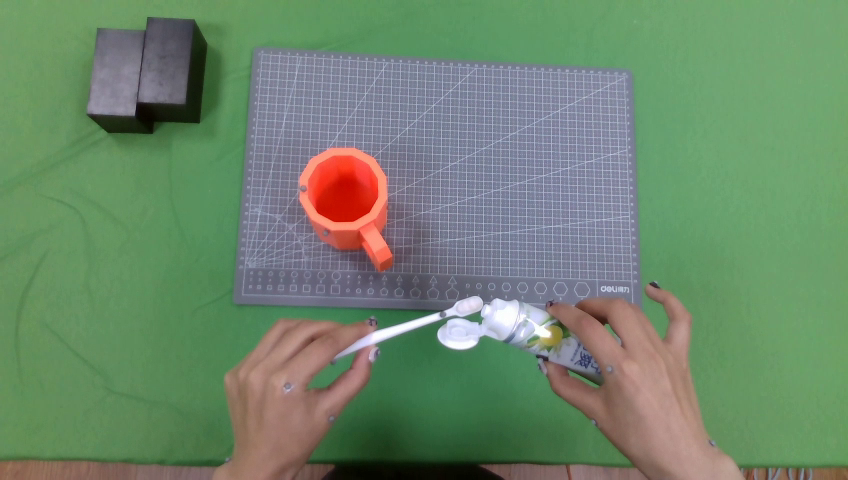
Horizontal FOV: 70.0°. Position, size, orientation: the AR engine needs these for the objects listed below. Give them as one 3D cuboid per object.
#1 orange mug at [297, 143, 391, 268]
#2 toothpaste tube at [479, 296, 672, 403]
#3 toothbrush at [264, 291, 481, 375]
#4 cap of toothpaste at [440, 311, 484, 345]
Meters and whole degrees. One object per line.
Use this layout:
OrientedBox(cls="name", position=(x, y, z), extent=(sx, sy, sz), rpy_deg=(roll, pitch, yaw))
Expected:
OrientedBox(cls="orange mug", position=(-0.074, -0.030, 0.628), extent=(0.083, 0.101, 0.125), rpy_deg=(-32, 78, -9))
OrientedBox(cls="toothpaste tube", position=(0.120, 0.084, 0.489), extent=(0.165, 0.034, 0.055), rpy_deg=(21, 100, -9))
OrientedBox(cls="toothbrush", position=(-0.041, 0.075, 0.482), extent=(0.182, 0.016, 0.014), rpy_deg=(-19, 90, -1))
OrientedBox(cls="cap of toothpaste", position=(0.030, 0.069, 0.486), extent=(0.037, 0.037, 0.011), rpy_deg=(1, 124, 0))
